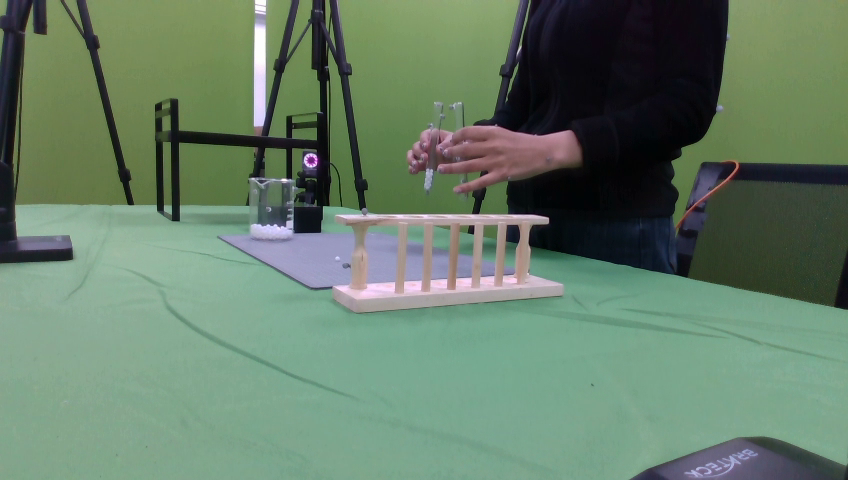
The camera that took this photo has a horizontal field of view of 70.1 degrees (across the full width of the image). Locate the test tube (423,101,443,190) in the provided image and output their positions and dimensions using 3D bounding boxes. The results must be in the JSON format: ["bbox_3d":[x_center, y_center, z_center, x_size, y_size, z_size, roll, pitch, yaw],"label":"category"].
[{"bbox_3d":[0.014,-0.154,0.999,0.017,0.150,0.017,7,22,-2],"label":"test tube"}]

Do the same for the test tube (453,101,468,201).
[{"bbox_3d":[0.056,-0.135,0.923,0.017,0.150,0.017,-3,5,1],"label":"test tube"}]

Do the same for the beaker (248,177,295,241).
[{"bbox_3d":[-0.252,-0.051,0.992,0.074,0.100,0.084,3,9,6],"label":"beaker"}]

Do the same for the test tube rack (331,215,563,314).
[{"bbox_3d":[0.031,0.019,0.625,0.243,0.085,0.066,-1,8,-28],"label":"test tube rack"}]
